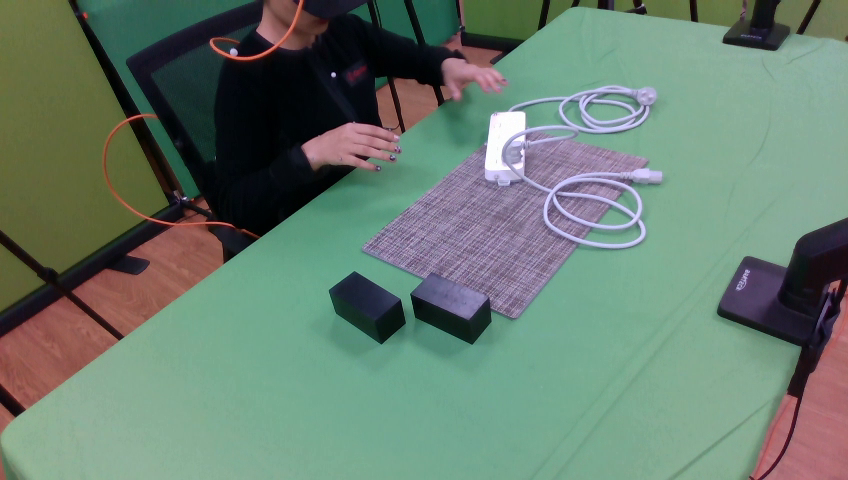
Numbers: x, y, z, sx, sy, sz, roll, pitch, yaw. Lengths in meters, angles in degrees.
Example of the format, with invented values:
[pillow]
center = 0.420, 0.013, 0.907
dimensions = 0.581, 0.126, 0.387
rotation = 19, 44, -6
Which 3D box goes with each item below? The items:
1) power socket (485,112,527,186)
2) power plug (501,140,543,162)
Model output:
[power socket]
center = 0.159, -0.181, 1.153
dimensions = 0.072, 0.033, 0.226
rotation = 0, 40, 11
[power plug]
center = 0.174, -0.150, 1.078
dimensions = 0.072, 0.053, 0.035
rotation = 6, 42, 20
